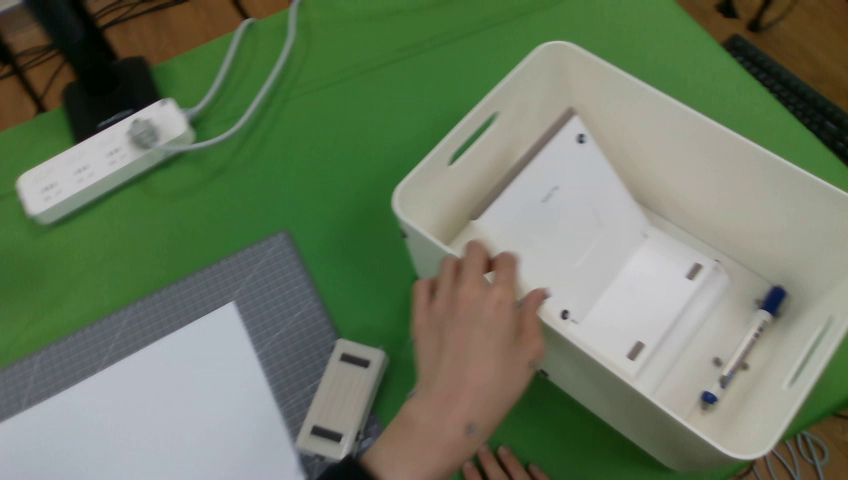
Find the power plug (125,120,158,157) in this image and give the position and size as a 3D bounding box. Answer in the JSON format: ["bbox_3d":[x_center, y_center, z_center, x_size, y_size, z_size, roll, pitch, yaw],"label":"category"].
[{"bbox_3d":[-0.340,-0.115,0.739,0.035,0.053,0.072,-23,70,-7],"label":"power plug"}]

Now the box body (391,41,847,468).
[{"bbox_3d":[0.184,0.011,0.587,0.361,0.162,0.253,36,71,20],"label":"box body"}]

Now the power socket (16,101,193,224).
[{"bbox_3d":[-0.398,-0.099,0.760,0.227,0.033,0.071,-32,66,-12],"label":"power socket"}]

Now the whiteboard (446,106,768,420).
[{"bbox_3d":[0.178,0.007,0.602,0.303,0.145,0.217,34,68,20],"label":"whiteboard"}]

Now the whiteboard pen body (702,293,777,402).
[{"bbox_3d":[0.319,0.104,0.607,0.017,0.017,0.140,36,71,21],"label":"whiteboard pen body"}]

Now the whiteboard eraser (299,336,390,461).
[{"bbox_3d":[-0.077,0.156,0.599,0.055,0.042,0.112,13,65,12],"label":"whiteboard eraser"}]

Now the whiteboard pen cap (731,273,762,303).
[{"bbox_3d":[0.334,0.051,0.629,0.018,0.018,0.033,39,72,21],"label":"whiteboard pen cap"}]
